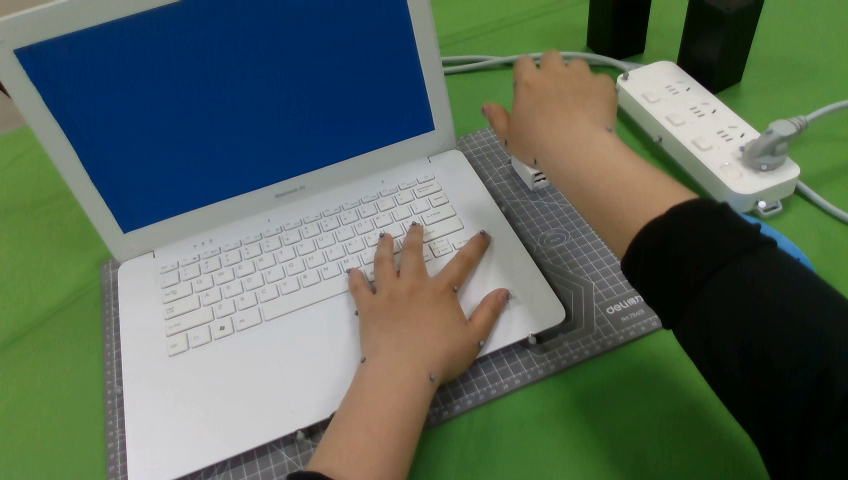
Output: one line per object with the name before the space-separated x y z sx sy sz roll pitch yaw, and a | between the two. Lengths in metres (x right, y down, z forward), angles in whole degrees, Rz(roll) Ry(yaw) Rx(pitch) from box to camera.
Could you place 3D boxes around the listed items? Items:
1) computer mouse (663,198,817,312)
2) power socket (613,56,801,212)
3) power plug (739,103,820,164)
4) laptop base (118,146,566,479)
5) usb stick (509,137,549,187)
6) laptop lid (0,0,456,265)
computer mouse | 0.255 0.005 0.495 0.063 0.041 0.116 -25 45 -11
power socket | 0.270 -0.113 0.600 0.072 0.033 0.224 -21 49 -7
power plug | 0.319 -0.087 0.541 0.072 0.053 0.035 -12 52 -2
laptop base | -0.086 0.046 0.534 0.355 0.023 0.233 -21 53 -9
usb stick | 0.102 -0.082 0.603 0.021 0.027 0.058 -21 49 -7
laptop lid | -0.153 -0.126 0.539 0.357 0.244 0.013 -22 37 -7
